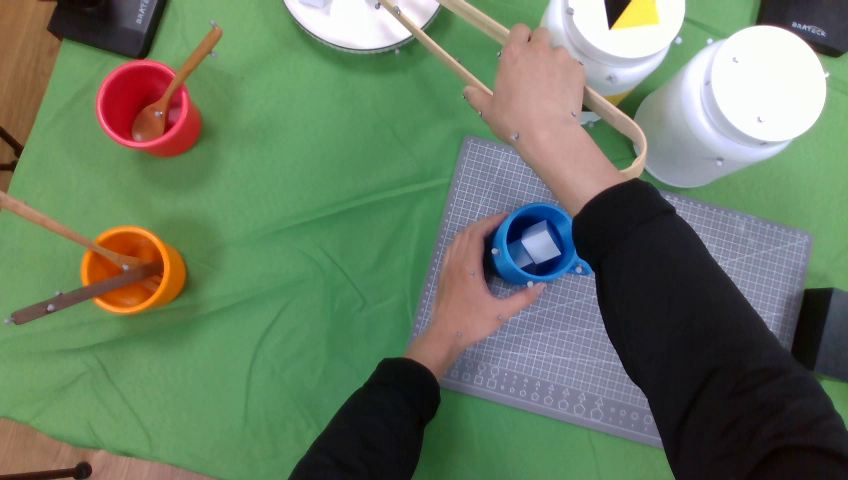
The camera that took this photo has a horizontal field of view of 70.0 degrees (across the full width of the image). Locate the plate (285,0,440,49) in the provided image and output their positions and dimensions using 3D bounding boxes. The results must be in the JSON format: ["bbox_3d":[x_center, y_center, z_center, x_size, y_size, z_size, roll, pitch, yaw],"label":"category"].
[{"bbox_3d":[-0.073,-0.327,0.731,0.208,0.039,0.207,0,85,-3],"label":"plate"}]

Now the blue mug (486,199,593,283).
[{"bbox_3d":[0.132,0.010,0.675,0.116,0.106,0.082,23,83,-1],"label":"blue mug"}]

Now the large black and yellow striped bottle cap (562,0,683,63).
[{"bbox_3d":[0.191,-0.228,0.581,0.115,0.019,0.114,0,85,-5],"label":"large black and yellow striped bottle cap"}]

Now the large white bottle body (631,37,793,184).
[{"bbox_3d":[0.321,-0.141,0.665,0.131,0.185,0.130,0,84,-3],"label":"large white bottle body"}]

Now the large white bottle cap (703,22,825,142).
[{"bbox_3d":[0.326,-0.151,0.581,0.115,0.018,0.114,1,84,-4],"label":"large white bottle cap"}]

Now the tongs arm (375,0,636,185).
[{"bbox_3d":[0.056,-0.176,0.606,0.051,0.027,0.381,-36,61,-5],"label":"tongs arm"}]

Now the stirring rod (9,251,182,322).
[{"bbox_3d":[-0.333,0.045,0.629,0.176,0.006,0.014,-27,89,-48],"label":"stirring rod"}]

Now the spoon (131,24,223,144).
[{"bbox_3d":[-0.268,-0.165,0.650,0.193,0.022,0.041,-33,81,37],"label":"spoon"}]

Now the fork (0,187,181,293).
[{"bbox_3d":[-0.345,0.002,0.626,0.209,0.018,0.028,40,79,-42],"label":"fork"}]

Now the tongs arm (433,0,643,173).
[{"bbox_3d":[0.077,-0.194,0.609,0.028,0.028,0.383,-38,61,-10],"label":"tongs arm"}]

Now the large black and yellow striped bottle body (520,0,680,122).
[{"bbox_3d":[0.186,-0.217,0.663,0.131,0.184,0.130,0,84,-3],"label":"large black and yellow striped bottle body"}]
